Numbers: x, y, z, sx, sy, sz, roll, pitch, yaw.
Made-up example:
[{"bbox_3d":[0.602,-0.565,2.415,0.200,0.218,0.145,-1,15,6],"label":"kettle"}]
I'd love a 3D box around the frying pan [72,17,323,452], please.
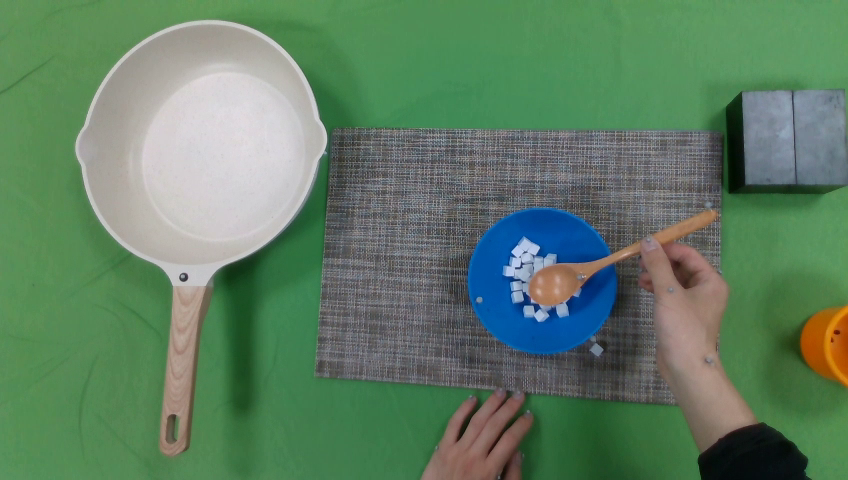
[{"bbox_3d":[-0.264,-0.012,0.699,0.306,0.103,0.485,1,77,9],"label":"frying pan"}]

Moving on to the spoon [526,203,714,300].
[{"bbox_3d":[0.185,0.011,0.590,0.193,0.022,0.041,-29,77,32],"label":"spoon"}]

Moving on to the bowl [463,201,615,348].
[{"bbox_3d":[0.122,0.039,0.650,0.151,0.077,0.151,-1,85,8],"label":"bowl"}]
